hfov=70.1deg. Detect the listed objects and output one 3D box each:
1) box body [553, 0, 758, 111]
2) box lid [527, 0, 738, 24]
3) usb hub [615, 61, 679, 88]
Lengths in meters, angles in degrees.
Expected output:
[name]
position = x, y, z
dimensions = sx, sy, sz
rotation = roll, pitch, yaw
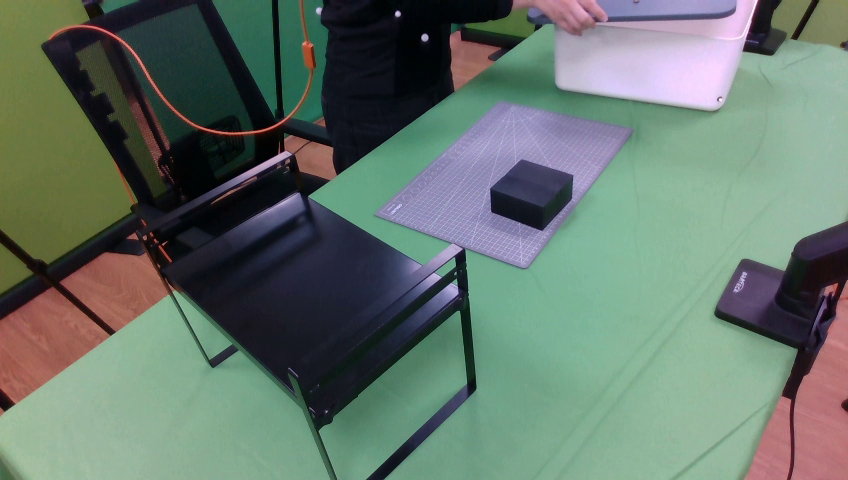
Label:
[box body]
position = 0.480, -0.417, 1.282
dimensions = 0.362, 0.161, 0.254
rotation = 16, 46, 25
[box lid]
position = 0.401, -0.486, 1.164
dimensions = 0.369, 0.015, 0.263
rotation = 7, 48, 22
[usb hub]
position = 0.483, -0.361, 1.312
dimensions = 0.124, 0.025, 0.049
rotation = 18, 49, 29
